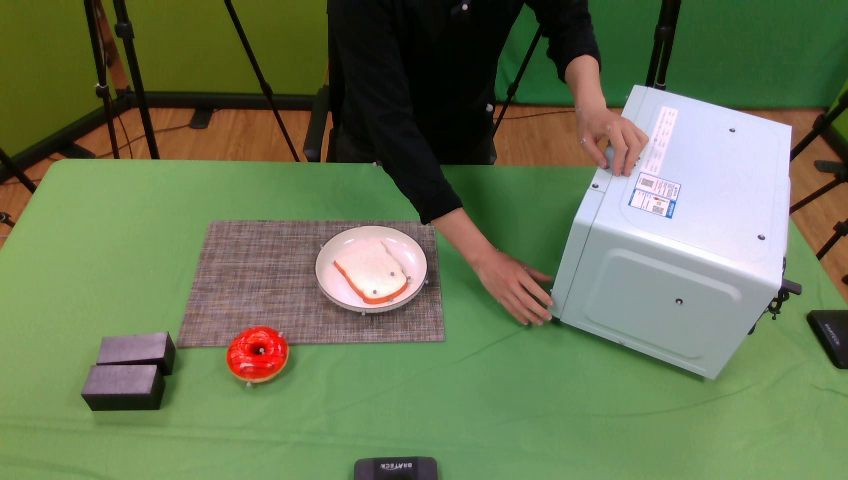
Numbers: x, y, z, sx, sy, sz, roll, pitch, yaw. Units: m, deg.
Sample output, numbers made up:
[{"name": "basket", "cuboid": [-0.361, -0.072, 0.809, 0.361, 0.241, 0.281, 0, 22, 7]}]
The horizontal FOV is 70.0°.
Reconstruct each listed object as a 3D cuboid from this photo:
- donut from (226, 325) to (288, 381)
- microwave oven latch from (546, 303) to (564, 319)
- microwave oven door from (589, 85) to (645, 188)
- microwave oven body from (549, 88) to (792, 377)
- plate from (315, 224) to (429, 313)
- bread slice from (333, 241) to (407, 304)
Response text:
[{"name": "donut", "cuboid": [-0.270, 0.182, 0.984, 0.099, 0.048, 0.098, 5, 49, -5]}, {"name": "microwave oven latch", "cuboid": [0.242, 0.102, 1.081, 0.030, 0.029, 0.079, 21, 48, 17]}, {"name": "microwave oven door", "cuboid": [0.342, -0.107, 1.148, 0.039, 0.245, 0.354, 21, 48, 15]}, {"name": "microwave oven body", "cuboid": [0.456, -0.028, 1.088, 0.325, 0.261, 0.440, 20, 47, 16]}, {"name": "plate", "cuboid": [-0.096, 0.055, 1.121, 0.208, 0.039, 0.206, 2, 46, -2]}, {"name": "bread slice", "cuboid": [-0.092, 0.060, 1.117, 0.105, 0.019, 0.130, -24, 52, -24]}]
